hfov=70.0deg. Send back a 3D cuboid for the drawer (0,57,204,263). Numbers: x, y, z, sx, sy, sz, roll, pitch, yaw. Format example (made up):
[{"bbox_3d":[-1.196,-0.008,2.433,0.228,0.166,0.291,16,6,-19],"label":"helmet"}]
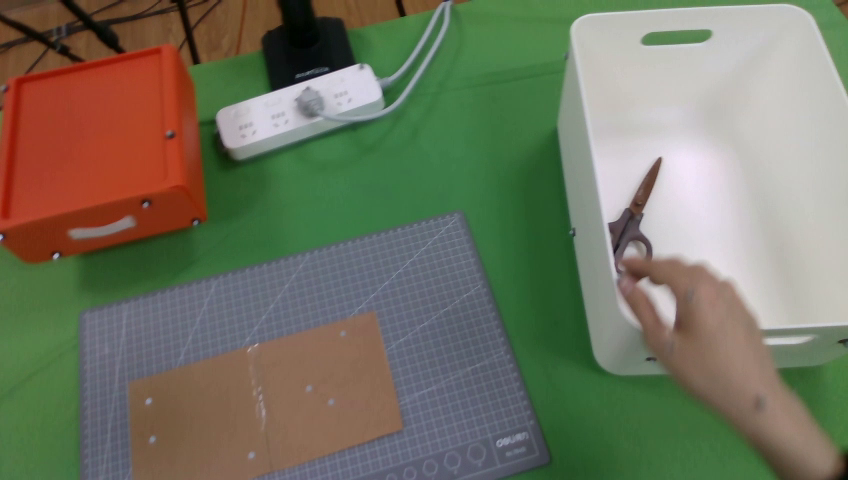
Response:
[{"bbox_3d":[-0.363,-0.096,0.684,0.194,0.074,0.209,-14,62,-4],"label":"drawer"}]

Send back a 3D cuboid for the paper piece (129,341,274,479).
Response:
[{"bbox_3d":[-0.230,0.185,0.617,0.136,0.009,0.137,-17,64,-2],"label":"paper piece"}]

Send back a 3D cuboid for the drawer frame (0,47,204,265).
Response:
[{"bbox_3d":[-0.365,-0.098,0.685,0.202,0.083,0.211,-15,61,-4],"label":"drawer frame"}]

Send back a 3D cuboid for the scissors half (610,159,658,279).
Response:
[{"bbox_3d":[0.250,-0.028,0.699,0.040,0.013,0.174,14,61,19],"label":"scissors half"}]

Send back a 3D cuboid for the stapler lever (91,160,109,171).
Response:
[{"bbox_3d":[-0.381,-0.077,0.667,0.117,0.040,0.026,12,79,14],"label":"stapler lever"}]

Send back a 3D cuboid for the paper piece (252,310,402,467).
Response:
[{"bbox_3d":[-0.103,0.149,0.629,0.135,0.004,0.134,-14,63,-5],"label":"paper piece"}]

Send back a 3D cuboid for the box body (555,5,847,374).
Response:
[{"bbox_3d":[0.285,-0.052,0.631,0.254,0.162,0.361,-3,62,1],"label":"box body"}]

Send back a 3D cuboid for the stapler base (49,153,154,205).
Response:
[{"bbox_3d":[-0.374,-0.072,0.692,0.130,0.024,0.041,12,80,12],"label":"stapler base"}]

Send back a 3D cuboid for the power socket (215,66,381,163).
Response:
[{"bbox_3d":[-0.162,-0.165,0.788,0.227,0.033,0.071,-20,64,-8],"label":"power socket"}]

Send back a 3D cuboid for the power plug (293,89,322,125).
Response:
[{"bbox_3d":[-0.144,-0.156,0.756,0.035,0.053,0.072,-11,62,-3],"label":"power plug"}]

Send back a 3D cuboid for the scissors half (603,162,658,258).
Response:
[{"bbox_3d":[0.233,-0.035,0.707,0.039,0.013,0.175,28,66,31],"label":"scissors half"}]
